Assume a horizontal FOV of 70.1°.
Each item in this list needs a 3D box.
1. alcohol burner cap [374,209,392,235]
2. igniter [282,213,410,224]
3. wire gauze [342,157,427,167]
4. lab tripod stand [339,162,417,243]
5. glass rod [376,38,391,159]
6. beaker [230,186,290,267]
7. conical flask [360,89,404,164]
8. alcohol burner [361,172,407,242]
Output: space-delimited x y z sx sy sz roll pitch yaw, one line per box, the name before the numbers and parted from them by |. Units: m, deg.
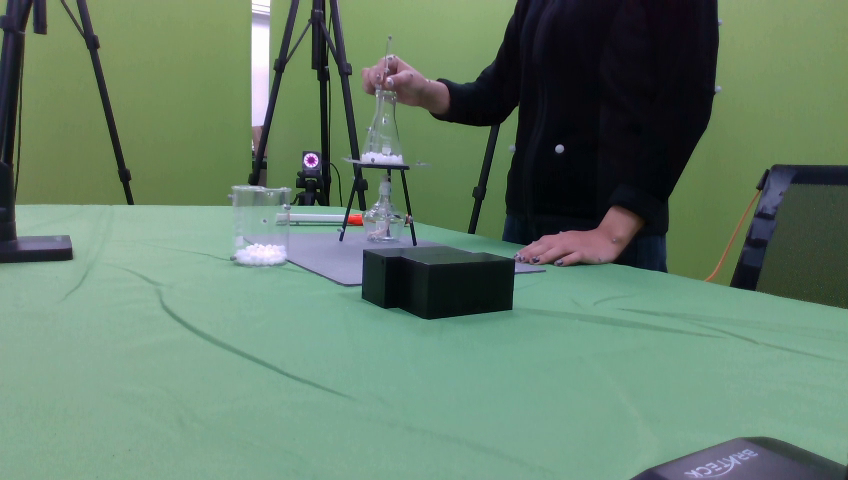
alcohol burner cap | -0.078 -0.035 1.148 0.034 0.048 0.034 2 7 0
igniter | -0.159 -0.046 1.287 0.278 0.025 0.057 -1 -2 -21
wire gauze | -0.065 -0.130 1.017 0.122 0.011 0.124 1 5 -27
lab tripod stand | -0.067 -0.065 1.027 0.148 0.131 0.148 4 7 0
glass rod | -0.068 -0.235 1.012 0.008 0.199 0.008 6 12 -1
beaker | -0.209 -0.019 0.778 0.074 0.100 0.084 3 6 4
conical flask | -0.067 -0.189 1.011 0.075 0.122 0.075 4 6 0
alcohol burner | -0.067 -0.056 1.030 0.078 0.119 0.078 4 9 0
